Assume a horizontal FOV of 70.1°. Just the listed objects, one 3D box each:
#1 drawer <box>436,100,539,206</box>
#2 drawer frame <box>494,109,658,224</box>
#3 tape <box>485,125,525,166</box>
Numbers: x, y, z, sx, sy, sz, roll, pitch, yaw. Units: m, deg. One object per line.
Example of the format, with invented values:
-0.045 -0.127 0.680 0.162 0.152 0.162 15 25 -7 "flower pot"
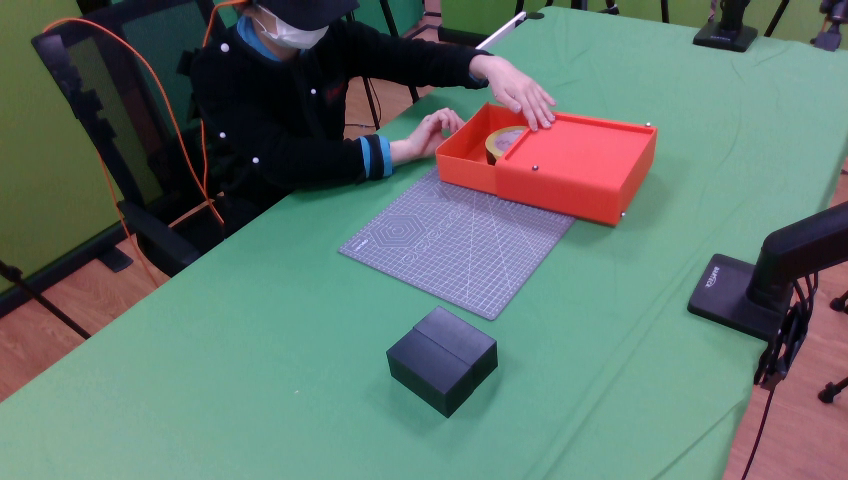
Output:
0.161 -0.161 1.087 0.210 0.073 0.195 19 47 28 "drawer"
0.259 -0.133 1.030 0.212 0.083 0.202 17 45 27 "drawer frame"
0.167 -0.156 1.088 0.117 0.053 0.116 -5 40 5 "tape"
